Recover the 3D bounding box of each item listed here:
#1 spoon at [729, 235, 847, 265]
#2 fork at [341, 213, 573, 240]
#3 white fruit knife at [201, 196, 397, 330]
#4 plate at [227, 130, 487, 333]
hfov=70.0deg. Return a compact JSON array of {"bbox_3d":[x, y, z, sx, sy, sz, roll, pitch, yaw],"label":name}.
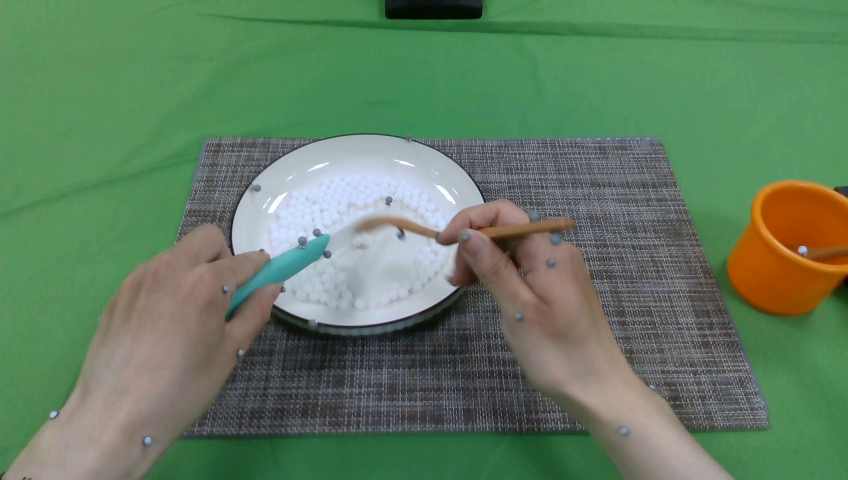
[{"bbox_3d":[0.315,0.006,0.437,0.041,0.193,0.022,-30,102,-26],"label":"spoon"},{"bbox_3d":[0.009,-0.010,0.392,0.028,0.018,0.206,3,1,-41],"label":"fork"},{"bbox_3d":[-0.082,0.005,0.456,0.016,0.027,0.207,29,38,21],"label":"white fruit knife"},{"bbox_3d":[-0.052,-0.010,0.501,0.209,0.038,0.207,1,51,-1],"label":"plate"}]
